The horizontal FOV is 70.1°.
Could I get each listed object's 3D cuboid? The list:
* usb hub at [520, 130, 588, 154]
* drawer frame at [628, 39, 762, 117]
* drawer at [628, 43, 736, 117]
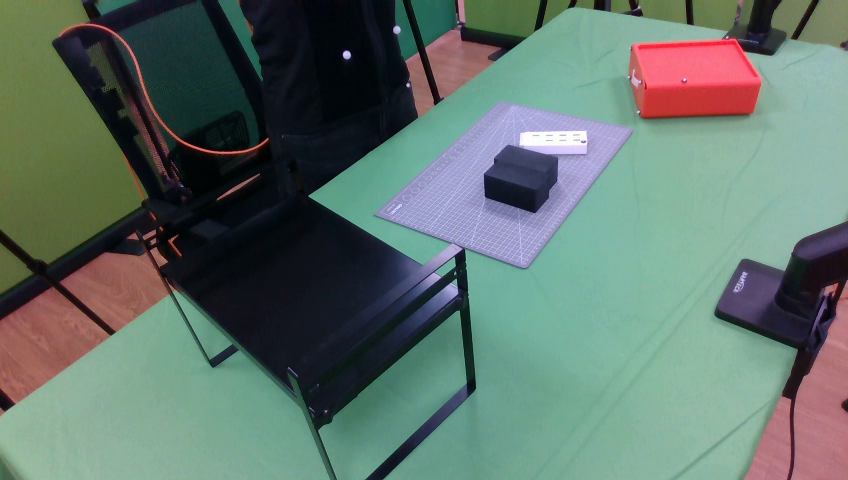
[{"bbox_3d":[0.246,-0.185,1.148,0.125,0.025,0.049,1,42,10],"label":"usb hub"},{"bbox_3d":[0.539,-0.332,1.234,0.213,0.083,0.201,0,41,7],"label":"drawer frame"},{"bbox_3d":[0.536,-0.331,1.237,0.211,0.073,0.194,1,40,9],"label":"drawer"}]
